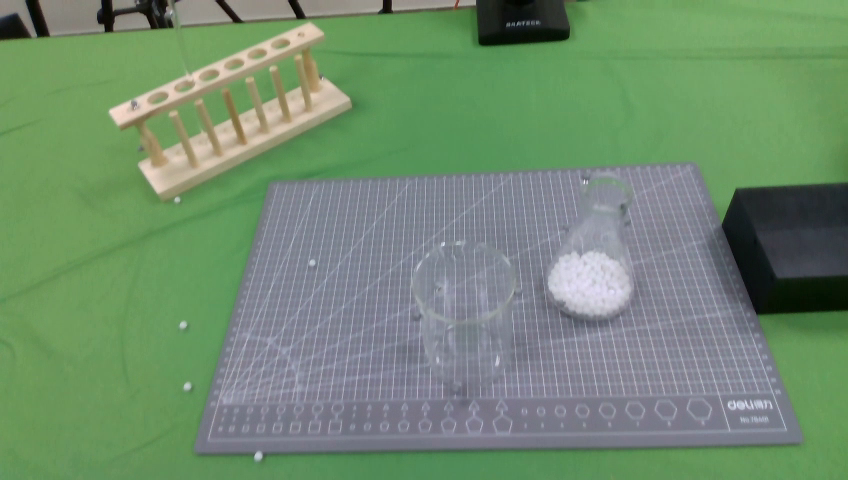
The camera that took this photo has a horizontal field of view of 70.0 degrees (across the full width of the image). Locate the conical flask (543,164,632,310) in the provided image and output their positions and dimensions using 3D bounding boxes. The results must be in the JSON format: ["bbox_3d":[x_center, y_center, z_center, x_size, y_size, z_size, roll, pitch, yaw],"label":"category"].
[{"bbox_3d":[0.137,-0.005,0.487,0.075,0.123,0.074,-3,50,4],"label":"conical flask"}]

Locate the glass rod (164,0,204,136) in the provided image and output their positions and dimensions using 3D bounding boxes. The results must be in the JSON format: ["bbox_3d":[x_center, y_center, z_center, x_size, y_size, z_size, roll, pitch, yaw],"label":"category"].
[{"bbox_3d":[-0.252,-0.193,0.626,0.008,0.201,0.008,2,43,-1],"label":"glass rod"}]

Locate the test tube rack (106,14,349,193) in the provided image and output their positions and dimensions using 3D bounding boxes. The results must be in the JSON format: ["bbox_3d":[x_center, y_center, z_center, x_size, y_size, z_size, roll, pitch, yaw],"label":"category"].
[{"bbox_3d":[-0.209,-0.157,0.678,0.242,0.086,0.066,-32,54,-20],"label":"test tube rack"}]

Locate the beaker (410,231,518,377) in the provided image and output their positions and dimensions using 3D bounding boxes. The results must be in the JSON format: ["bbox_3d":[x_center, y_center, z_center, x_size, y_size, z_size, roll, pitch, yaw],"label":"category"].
[{"bbox_3d":[0.030,0.052,0.465,0.074,0.101,0.083,-21,50,-12],"label":"beaker"}]
